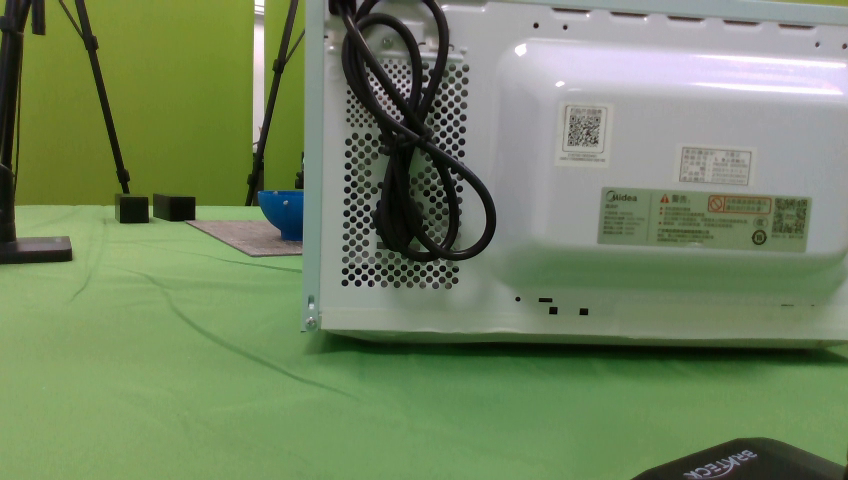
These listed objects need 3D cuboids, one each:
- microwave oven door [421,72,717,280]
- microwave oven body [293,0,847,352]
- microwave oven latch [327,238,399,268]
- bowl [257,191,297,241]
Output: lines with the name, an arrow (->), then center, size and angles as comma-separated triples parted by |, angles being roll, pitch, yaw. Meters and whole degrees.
microwave oven door -> 0.170, -0.088, 0.775 | 0.354, 0.243, 0.039 | 5, 7, 23
microwave oven body -> 0.122, -0.055, 0.550 | 0.442, 0.260, 0.325 | 3, 7, -5
microwave oven latch -> -0.069, 0.014, 0.694 | 0.079, 0.029, 0.030 | 3, 7, -2
bowl -> -0.206, -0.041, 1.027 | 0.151, 0.077, 0.151 | 3, 8, 0
